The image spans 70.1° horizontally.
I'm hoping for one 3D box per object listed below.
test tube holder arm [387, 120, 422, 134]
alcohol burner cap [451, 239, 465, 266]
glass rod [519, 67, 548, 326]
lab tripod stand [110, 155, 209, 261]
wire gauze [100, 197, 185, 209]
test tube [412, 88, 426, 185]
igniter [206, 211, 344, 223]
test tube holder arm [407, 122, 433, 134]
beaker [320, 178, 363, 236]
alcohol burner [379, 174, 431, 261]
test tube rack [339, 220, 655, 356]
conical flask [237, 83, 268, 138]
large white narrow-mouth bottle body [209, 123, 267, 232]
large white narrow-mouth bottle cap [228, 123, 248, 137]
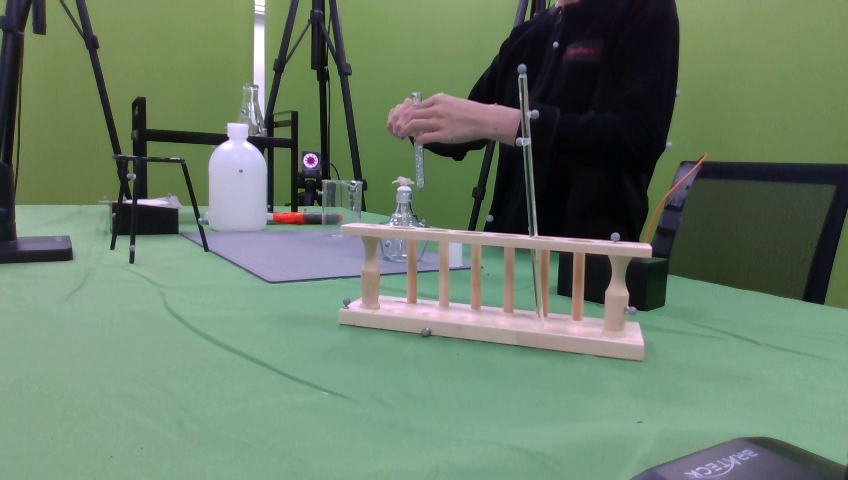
[{"bbox_3d":[-0.035,-0.190,1.008,0.013,0.015,0.177,1,13,-20],"label":"test tube holder arm"},{"bbox_3d":[0.040,0.010,0.815,0.034,0.048,0.034,4,8,0],"label":"alcohol burner cap"},{"bbox_3d":[0.084,-0.029,0.459,0.008,0.199,0.008,-7,11,2],"label":"glass rod"},{"bbox_3d":[-0.361,-0.046,0.806,0.148,0.131,0.148,2,5,0],"label":"lab tripod stand"},{"bbox_3d":[-0.469,-0.062,1.008,0.126,0.011,0.121,-2,8,-25],"label":"wire gauze"},{"bbox_3d":[-0.008,-0.161,0.951,0.017,0.150,0.017,-3,12,1],"label":"test tube"},{"bbox_3d":[-0.302,-0.048,1.249,0.278,0.025,0.057,-2,-2,-26],"label":"igniter"},{"bbox_3d":[-0.012,-0.180,0.971,0.010,0.015,0.087,-4,15,-32],"label":"test tube holder arm"},{"bbox_3d":[-0.145,-0.059,1.079,0.074,0.100,0.083,-4,10,-36],"label":"beaker"},{"bbox_3d":[-0.027,-0.031,0.838,0.078,0.119,0.078,0,6,0],"label":"alcohol burner"},{"bbox_3d":[0.056,0.032,0.495,0.242,0.085,0.067,4,7,15],"label":"test tube rack"},{"bbox_3d":[-0.402,-0.299,1.406,0.075,0.122,0.075,2,7,0],"label":"conical flask"},{"bbox_3d":[-0.340,-0.115,1.109,0.102,0.194,0.102,2,8,0],"label":"large white narrow-mouth bottle body"},{"bbox_3d":[-0.338,-0.199,1.097,0.038,0.024,0.037,2,8,0],"label":"large white narrow-mouth bottle cap"}]
